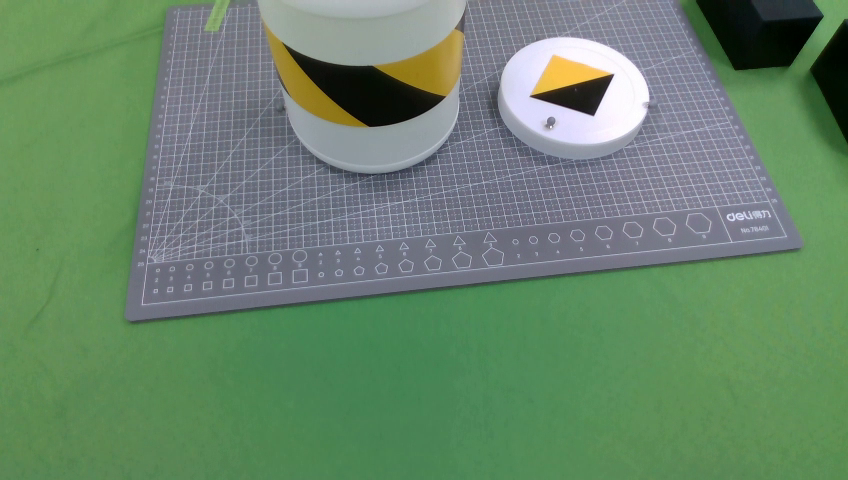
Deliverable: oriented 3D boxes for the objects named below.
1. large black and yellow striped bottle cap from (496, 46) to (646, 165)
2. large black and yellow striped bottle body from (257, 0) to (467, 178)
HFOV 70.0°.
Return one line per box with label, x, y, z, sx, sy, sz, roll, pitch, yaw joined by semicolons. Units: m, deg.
large black and yellow striped bottle cap;0.114;-0.108;0.473;0.115;0.019;0.114;1;57;-1
large black and yellow striped bottle body;-0.038;-0.144;0.392;0.131;0.185;0.129;0;58;0
